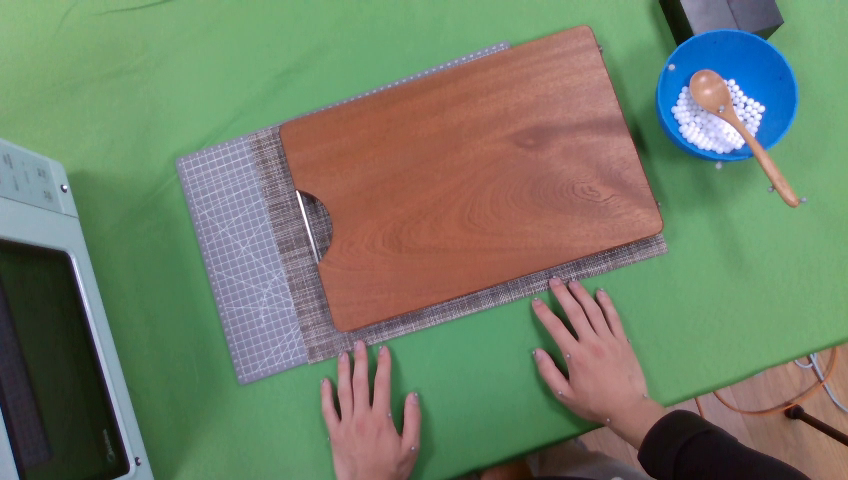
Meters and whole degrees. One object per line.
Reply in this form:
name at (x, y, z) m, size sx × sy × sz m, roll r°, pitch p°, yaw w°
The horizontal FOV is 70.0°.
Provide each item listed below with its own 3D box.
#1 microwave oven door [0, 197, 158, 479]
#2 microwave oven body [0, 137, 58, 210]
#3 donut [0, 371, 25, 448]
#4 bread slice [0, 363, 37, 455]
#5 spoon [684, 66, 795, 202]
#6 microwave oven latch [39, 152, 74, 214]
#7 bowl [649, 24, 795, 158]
microwave oven door at (-0.397, 0.123, 0.619) m, size 0.039 × 0.244 × 0.354 m, roll -22°, pitch 82°, yaw 2°
microwave oven body at (-0.548, 0.137, 0.634) m, size 0.326 × 0.261 × 0.440 m, roll -21°, pitch 82°, yaw 1°
donut at (-0.490, 0.186, 0.658) m, size 0.099 × 0.048 × 0.099 m, roll -1°, pitch 97°, yaw -11°
bread slice at (-0.519, 0.205, 0.689) m, size 0.132 × 0.019 × 0.105 m, roll -10°, pitch 90°, yaw -7°
spoon at (0.343, -0.119, 0.660) m, size 0.041 × 0.022 × 0.191 m, roll -20°, pitch 59°, yaw -1°
microwave oven latch at (-0.463, -0.066, 0.749) m, size 0.030 × 0.029 × 0.079 m, roll -21°, pitch 83°, yaw 1°
bowl at (0.328, -0.160, 0.696) m, size 0.151 × 0.077 × 0.151 m, roll -1°, pitch 83°, yaw 5°
